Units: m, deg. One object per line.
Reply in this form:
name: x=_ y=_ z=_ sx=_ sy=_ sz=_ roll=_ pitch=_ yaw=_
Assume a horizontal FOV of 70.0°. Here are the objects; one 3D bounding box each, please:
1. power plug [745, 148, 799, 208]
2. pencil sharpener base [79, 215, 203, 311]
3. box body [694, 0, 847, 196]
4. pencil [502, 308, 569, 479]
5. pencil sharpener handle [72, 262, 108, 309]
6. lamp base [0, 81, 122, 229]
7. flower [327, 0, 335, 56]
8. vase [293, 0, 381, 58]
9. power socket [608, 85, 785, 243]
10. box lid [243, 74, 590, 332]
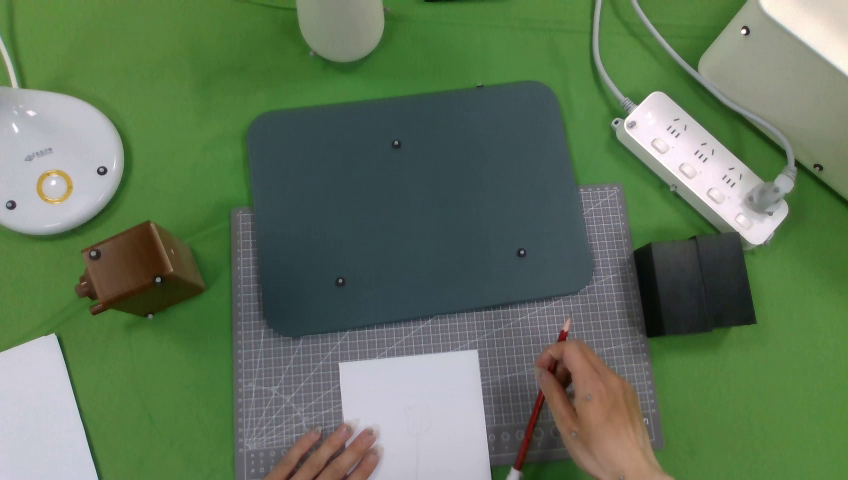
power plug: x=0.394 y=-0.064 z=0.683 sx=0.072 sy=0.053 sz=0.035 roll=-34 pitch=79 yaw=-14
pencil sharpener base: x=-0.280 y=0.027 z=0.606 sx=0.077 sy=0.107 sz=0.061 roll=-25 pitch=81 yaw=-8
box body: x=0.528 y=-0.201 z=0.676 sx=0.363 sy=0.161 sz=0.254 roll=41 pitch=79 yaw=5
pencil: x=0.112 y=0.159 z=0.607 sx=0.012 sy=0.012 sz=0.194 roll=19 pitch=93 yaw=1
pencil sharpener handle: x=-0.324 y=0.049 z=0.586 sx=0.030 sy=0.068 sz=0.035 roll=-25 pitch=68 yaw=-8
lamp base: x=-0.418 y=-0.116 z=0.589 sx=0.160 sy=0.181 sz=0.178 roll=-35 pitch=80 yaw=-10
flower: x=-0.082 y=-0.310 z=0.558 sx=0.044 sy=0.364 sz=0.038 roll=-30 pitch=69 yaw=-25
vase: x=-0.095 y=-0.278 z=0.635 sx=0.098 sy=0.200 sz=0.097 roll=1 pitch=76 yaw=-4
power socket: x=0.319 y=-0.089 z=0.706 sx=0.226 sy=0.033 sz=0.072 roll=44 pitch=79 yaw=6
box lid: x=-0.007 y=-0.049 z=0.688 sx=0.372 sy=0.015 sz=0.262 roll=-9 pitch=79 yaw=-5
